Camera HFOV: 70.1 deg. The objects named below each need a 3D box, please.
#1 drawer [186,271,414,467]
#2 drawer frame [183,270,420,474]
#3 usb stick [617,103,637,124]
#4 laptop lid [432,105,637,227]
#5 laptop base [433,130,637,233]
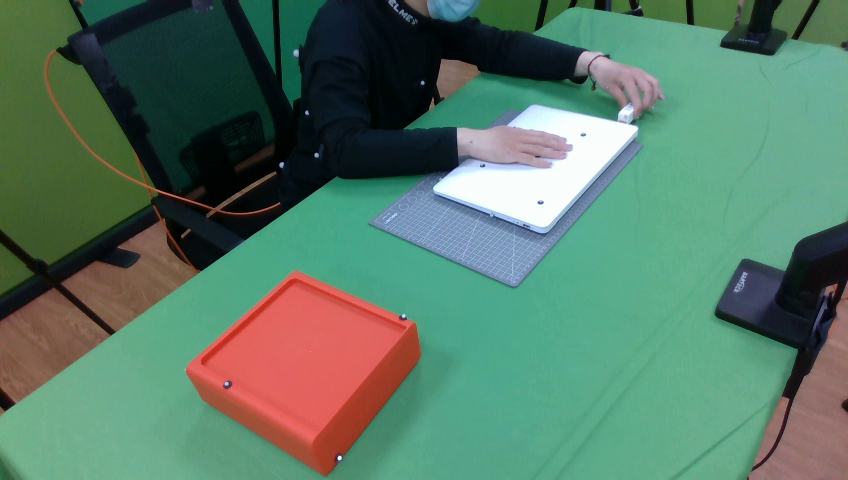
[{"bbox_3d":[-0.151,0.153,0.768,0.210,0.073,0.195,20,46,28],"label":"drawer"},{"bbox_3d":[-0.149,0.153,0.767,0.212,0.083,0.202,20,46,27],"label":"drawer frame"},{"bbox_3d":[0.391,-0.240,1.177,0.021,0.027,0.059,24,54,31],"label":"usb stick"},{"bbox_3d":[0.207,-0.151,1.105,0.239,0.013,0.358,23,48,34],"label":"laptop lid"},{"bbox_3d":[0.210,-0.142,1.111,0.233,0.023,0.355,21,48,34],"label":"laptop base"}]
